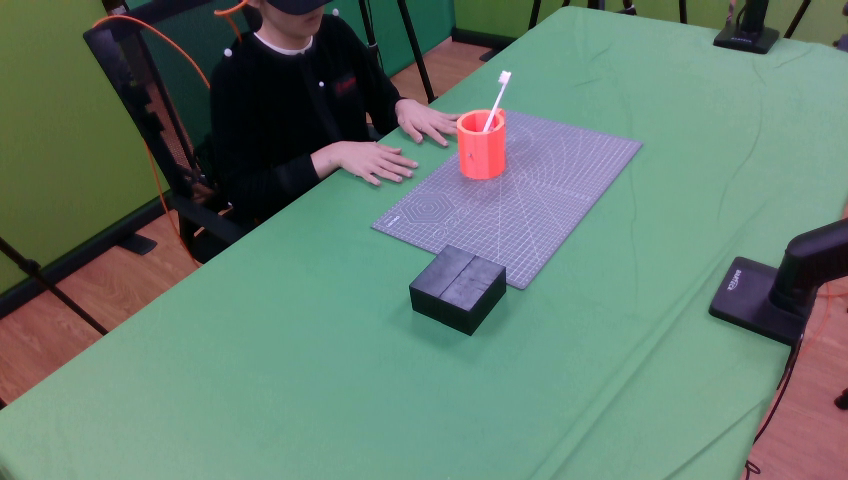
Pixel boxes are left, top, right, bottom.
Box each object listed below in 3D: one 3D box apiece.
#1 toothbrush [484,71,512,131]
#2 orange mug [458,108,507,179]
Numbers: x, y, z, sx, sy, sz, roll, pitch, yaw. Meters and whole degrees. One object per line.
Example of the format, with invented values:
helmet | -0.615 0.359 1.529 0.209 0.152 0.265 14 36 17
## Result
toothbrush | 0.118 -0.216 1.087 0.017 0.182 0.014 17 14 -17
orange mug | 0.117 -0.187 1.112 0.083 0.101 0.126 19 52 28
